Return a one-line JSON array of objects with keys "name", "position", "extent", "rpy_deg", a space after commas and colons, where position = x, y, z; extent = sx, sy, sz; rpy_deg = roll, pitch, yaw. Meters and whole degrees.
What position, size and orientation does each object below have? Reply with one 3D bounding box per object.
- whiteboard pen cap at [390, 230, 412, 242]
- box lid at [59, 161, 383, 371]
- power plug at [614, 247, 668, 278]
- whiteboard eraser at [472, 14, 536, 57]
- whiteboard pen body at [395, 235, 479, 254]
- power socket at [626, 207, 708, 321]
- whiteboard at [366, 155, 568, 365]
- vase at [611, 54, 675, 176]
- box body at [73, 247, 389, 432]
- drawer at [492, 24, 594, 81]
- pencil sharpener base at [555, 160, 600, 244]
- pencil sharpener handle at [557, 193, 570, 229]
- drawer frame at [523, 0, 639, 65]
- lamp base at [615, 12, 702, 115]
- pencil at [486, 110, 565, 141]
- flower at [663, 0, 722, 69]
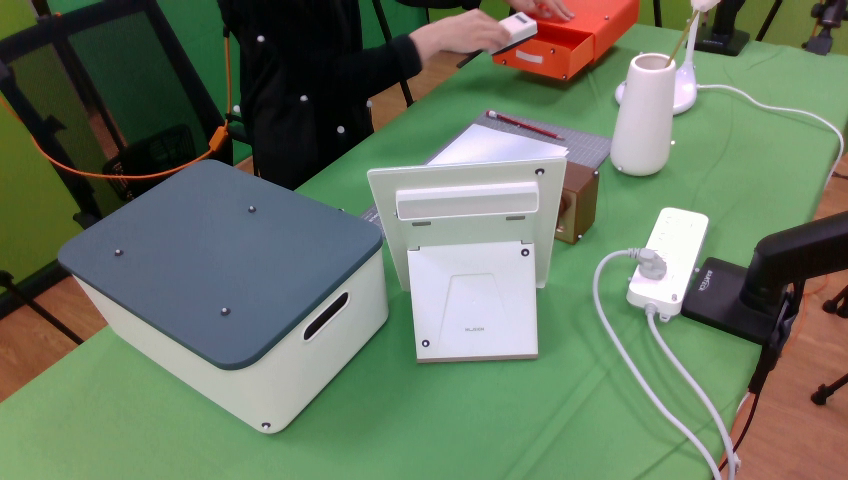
[{"name": "whiteboard pen cap", "position": [-0.037, -0.006, 0.980], "extent": [0.033, 0.018, 0.018], "rpy_deg": [9, 43, 17]}, {"name": "box lid", "position": [-0.262, 0.010, 0.777], "extent": [0.369, 0.015, 0.264], "rpy_deg": [21, 48, 29]}, {"name": "power plug", "position": [0.306, 0.031, 0.851], "extent": [0.072, 0.053, 0.035], "rpy_deg": [24, 49, 33]}, {"name": "whiteboard eraser", "position": [0.150, -0.380, 1.132], "extent": [0.113, 0.042, 0.055], "rpy_deg": [-27, 55, -16]}, {"name": "whiteboard pen body", "position": [0.019, 0.005, 0.963], "extent": [0.140, 0.017, 0.017], "rpy_deg": [9, 43, 17]}, {"name": "power socket", "position": [0.359, 0.025, 0.886], "extent": [0.072, 0.033, 0.227], "rpy_deg": [16, 46, 26]}, {"name": "whiteboard", "position": [0.059, 0.050, 0.738], "extent": [0.217, 0.307, 0.143], "rpy_deg": [-3, 60, 5]}, {"name": "vase", "position": [0.377, -0.209, 1.031], "extent": [0.098, 0.201, 0.097], "rpy_deg": [-3, 40, 3]}, {"name": "box body", "position": [-0.255, 0.065, 0.827], "extent": [0.361, 0.161, 0.255], "rpy_deg": [21, 48, 29]}, {"name": "drawer", "position": [0.288, -0.445, 1.347], "extent": [0.193, 0.073, 0.212], "rpy_deg": [24, 48, 32]}, {"name": "pencil sharpener base", "position": [0.228, -0.057, 0.945], "extent": [0.061, 0.107, 0.077], "rpy_deg": [24, 50, 31]}, {"name": "pencil sharpener handle", "position": [0.195, -0.038, 0.908], "extent": [0.035, 0.068, 0.031], "rpy_deg": [24, 50, 30]}, {"name": "drawer frame", "position": [0.354, -0.506, 1.404], "extent": [0.200, 0.083, 0.214], "rpy_deg": [25, 54, 33]}, {"name": "lamp base", "position": [0.484, -0.364, 1.211], "extent": [0.180, 0.181, 0.159], "rpy_deg": [-15, 41, -14]}, {"name": "pencil", "position": [0.203, -0.232, 1.226], "extent": [0.192, 0.012, 0.012], "rpy_deg": [29, 52, 33]}, {"name": "flower", "position": [0.379, -0.261, 0.965], "extent": [0.044, 0.362, 0.038], "rpy_deg": [20, 53, 5]}]
